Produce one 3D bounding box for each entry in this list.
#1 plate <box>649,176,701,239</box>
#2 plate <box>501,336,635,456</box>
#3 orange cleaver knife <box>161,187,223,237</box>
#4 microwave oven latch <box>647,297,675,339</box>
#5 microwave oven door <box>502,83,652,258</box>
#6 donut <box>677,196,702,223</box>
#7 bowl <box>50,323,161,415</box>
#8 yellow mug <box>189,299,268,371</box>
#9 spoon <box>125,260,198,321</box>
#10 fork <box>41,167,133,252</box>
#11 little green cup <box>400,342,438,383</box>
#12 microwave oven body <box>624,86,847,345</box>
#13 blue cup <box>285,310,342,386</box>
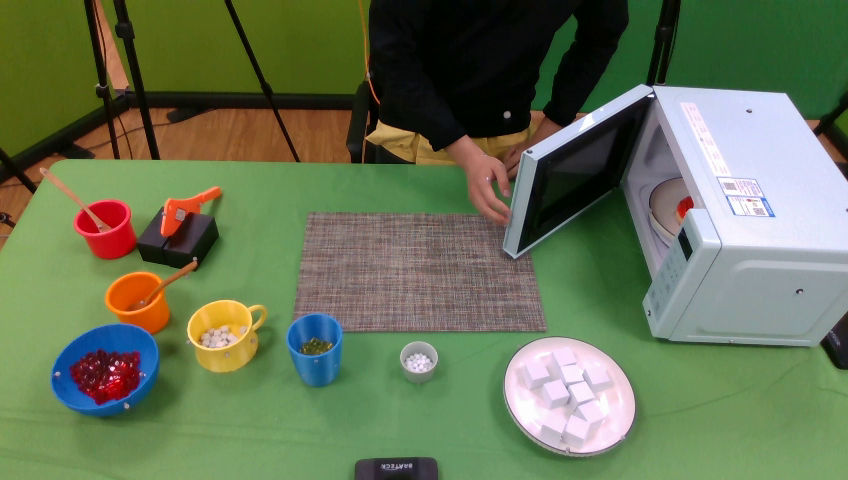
[{"bbox_3d":[0.542,-0.045,1.179,0.209,0.038,0.208,1,45,-1],"label":"plate"},{"bbox_3d":[0.225,0.248,0.963,0.208,0.039,0.206,2,46,-2],"label":"plate"},{"bbox_3d":[-0.448,-0.059,1.181,0.012,0.077,0.211,13,17,6],"label":"orange cleaver knife"},{"bbox_3d":[0.413,0.134,1.061,0.030,0.029,0.078,5,45,2],"label":"microwave oven latch"},{"bbox_3d":[0.301,-0.138,1.175,0.356,0.245,0.039,-32,56,-29],"label":"microwave oven door"},{"bbox_3d":[0.538,-0.047,1.170,0.099,0.048,0.098,5,43,-4],"label":"donut"},{"bbox_3d":[-0.472,0.209,0.924,0.151,0.077,0.150,2,45,-2],"label":"bowl"},{"bbox_3d":[-0.316,0.148,1.002,0.131,0.064,0.099,-32,56,-31],"label":"yellow mug"},{"bbox_3d":[-0.434,0.083,1.000,0.022,0.194,0.041,35,34,-34],"label":"spoon"},{"bbox_3d":[-0.624,-0.056,1.121,0.208,0.018,0.028,49,52,-15],"label":"fork"},{"bbox_3d":[-0.010,0.202,0.991,0.061,0.039,0.061,2,47,-2],"label":"little green cup"},{"bbox_3d":[0.567,-0.053,1.118,0.326,0.261,0.439,2,45,-1],"label":"microwave oven body"},{"bbox_3d":[-0.169,0.180,0.958,0.093,0.101,0.092,1,44,-1],"label":"blue cup"}]
